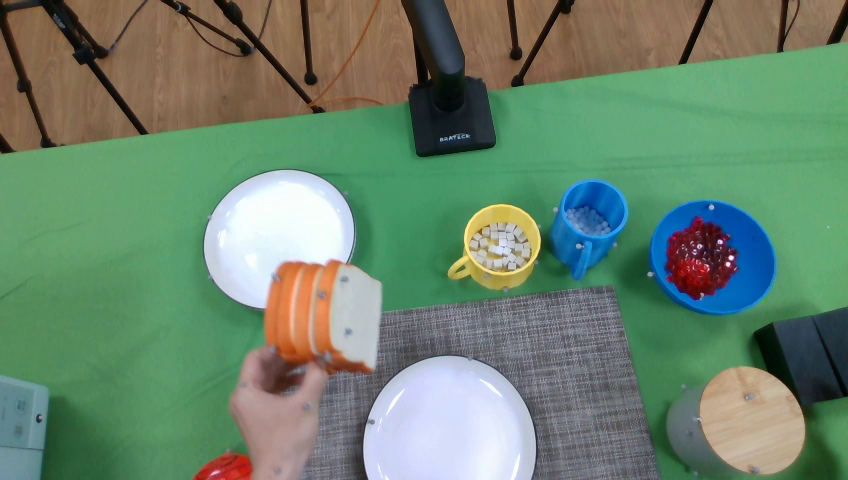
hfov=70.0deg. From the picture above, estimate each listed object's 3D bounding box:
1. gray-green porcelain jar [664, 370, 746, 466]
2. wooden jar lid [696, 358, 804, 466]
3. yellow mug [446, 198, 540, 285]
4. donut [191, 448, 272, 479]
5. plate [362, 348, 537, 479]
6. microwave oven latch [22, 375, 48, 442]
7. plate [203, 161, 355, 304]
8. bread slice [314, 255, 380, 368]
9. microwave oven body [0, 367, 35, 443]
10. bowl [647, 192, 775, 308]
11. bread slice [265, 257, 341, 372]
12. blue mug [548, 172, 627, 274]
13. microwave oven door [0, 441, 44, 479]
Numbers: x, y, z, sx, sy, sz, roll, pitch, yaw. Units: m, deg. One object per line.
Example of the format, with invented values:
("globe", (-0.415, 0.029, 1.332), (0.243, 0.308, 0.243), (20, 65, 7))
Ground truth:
("gray-green porcelain jar", (0.338, 0.201, 0.687), (0.106, 0.127, 0.105), (-1, 69, 2))
("wooden jar lid", (0.335, 0.178, 0.629), (0.108, 0.021, 0.107), (0, 70, 0))
("yellow mug", (0.087, 0.010, 0.803), (0.131, 0.064, 0.099), (-29, 70, -7))
("donut", (-0.229, 0.298, 0.720), (0.099, 0.048, 0.098), (0, 69, 0))
("plate", (0.031, 0.236, 0.731), (0.209, 0.038, 0.207), (-1, 69, 2))
("microwave oven latch", (-0.487, 0.208, 0.748), (0.030, 0.030, 0.078), (-4, 70, 1))
("plate", (-0.197, -0.009, 0.838), (0.207, 0.039, 0.206), (-1, 69, 2))
("bread slice", (-0.076, 0.074, 0.630), (0.019, 0.132, 0.104), (-2, 73, 17))
("microwave oven body", (-0.619, 0.355, 0.595), (0.326, 0.262, 0.438), (-7, 70, 0))
("bowl", (0.356, 0.023, 0.780), (0.151, 0.077, 0.150), (-1, 69, 3))
("bread slice", (-0.121, 0.075, 0.649), (0.018, 0.135, 0.106), (-2, 67, 23))
("blue mug", (0.207, -0.013, 0.785), (0.082, 0.106, 0.116), (11, 70, 7))
("microwave oven door", (-0.469, 0.374, 0.576), (0.039, 0.245, 0.353), (-8, 69, 0))
